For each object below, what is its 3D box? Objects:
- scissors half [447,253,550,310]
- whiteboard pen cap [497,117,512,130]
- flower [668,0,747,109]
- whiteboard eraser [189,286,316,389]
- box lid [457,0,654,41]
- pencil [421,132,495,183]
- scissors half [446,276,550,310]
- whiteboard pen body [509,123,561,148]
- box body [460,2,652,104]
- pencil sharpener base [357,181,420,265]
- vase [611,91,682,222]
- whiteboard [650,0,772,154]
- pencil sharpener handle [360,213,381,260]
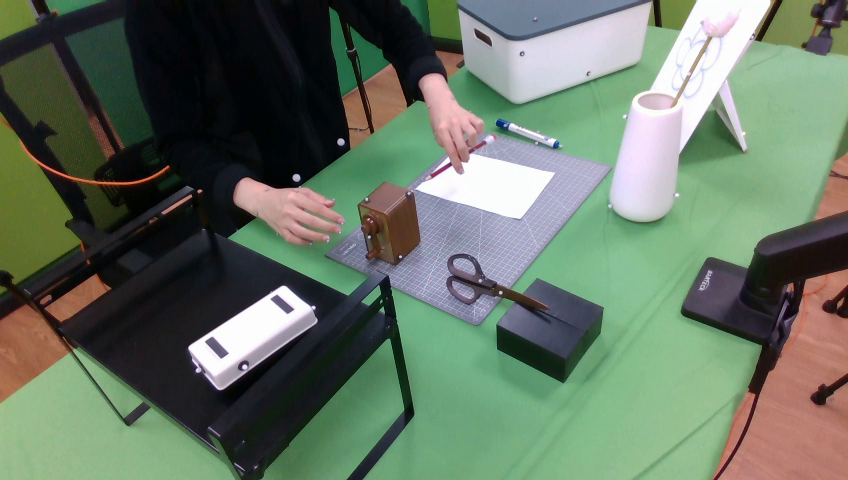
[{"bbox_3d":[0.098,0.058,0.821,0.173,0.040,0.013,27,33,37],"label":"scissors half"},{"bbox_3d":[0.165,-0.235,1.226,0.033,0.018,0.018,32,53,31],"label":"whiteboard pen cap"},{"bbox_3d":[0.354,-0.187,0.879,0.038,0.362,0.044,30,48,14],"label":"flower"},{"bbox_3d":[-0.166,0.096,0.593,0.113,0.042,0.055,-36,47,-29],"label":"whiteboard eraser"},{"bbox_3d":[0.285,-0.522,1.323,0.373,0.015,0.261,-22,43,-16],"label":"box lid"},{"bbox_3d":[0.058,-0.135,0.990,0.012,0.012,0.195,25,46,32],"label":"pencil"},{"bbox_3d":[0.098,0.077,0.827,0.174,0.040,0.013,6,14,44],"label":"scissors half"},{"bbox_3d":[0.209,-0.212,1.195,0.139,0.017,0.017,30,52,33],"label":"whiteboard pen body"},{"bbox_3d":[0.291,-0.465,1.371,0.365,0.161,0.252,-22,42,-16],"label":"box body"},{"bbox_3d":[-0.055,-0.024,0.941,0.061,0.107,0.077,21,48,29],"label":"pencil sharpener base"},{"bbox_3d":[0.348,-0.125,0.935,0.098,0.201,0.097,-3,40,3],"label":"vase"},{"bbox_3d":[0.543,-0.298,1.076,0.144,0.305,0.216,12,40,-7],"label":"whiteboard"},{"bbox_3d":[-0.083,-0.004,0.902,0.035,0.068,0.031,13,44,36],"label":"pencil sharpener handle"}]
